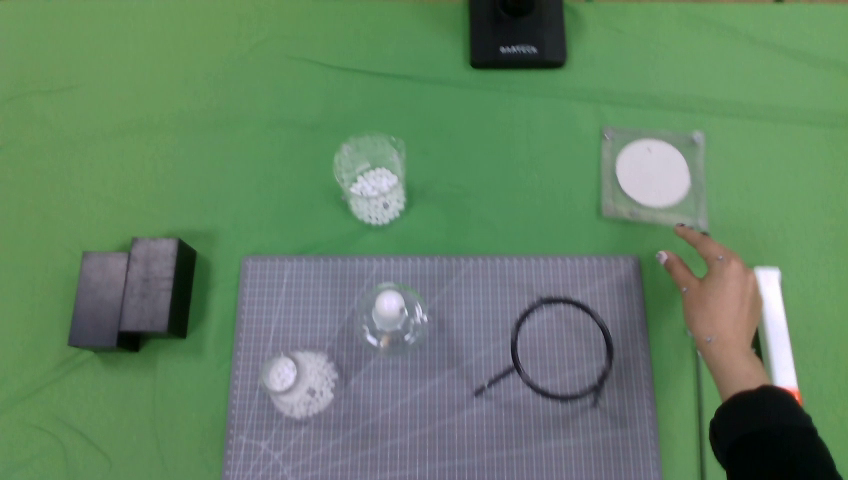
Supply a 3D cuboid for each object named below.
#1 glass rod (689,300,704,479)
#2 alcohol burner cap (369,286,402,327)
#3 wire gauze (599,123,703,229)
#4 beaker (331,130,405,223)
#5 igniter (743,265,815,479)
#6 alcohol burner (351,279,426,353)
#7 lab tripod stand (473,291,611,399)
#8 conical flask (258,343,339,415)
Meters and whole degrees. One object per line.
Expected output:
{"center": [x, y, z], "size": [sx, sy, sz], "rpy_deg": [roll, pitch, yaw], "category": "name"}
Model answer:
{"center": [0.289, 0.162, 0.644], "size": [0.008, 0.008, 0.198], "rpy_deg": [4, 73, 1], "category": "glass rod"}
{"center": [-0.035, 0.061, 0.579], "size": [0.034, 0.048, 0.033], "rpy_deg": [3, 67, -7], "category": "alcohol burner cap"}
{"center": [0.269, -0.079, 0.716], "size": [0.125, 0.011, 0.121], "rpy_deg": [7, 75, 0], "category": "wire gauze"}
{"center": [-0.055, -0.066, 0.664], "size": [0.084, 0.101, 0.073], "rpy_deg": [-40, 77, -11], "category": "beaker"}
{"center": [0.372, 0.161, 0.635], "size": [0.057, 0.025, 0.275], "rpy_deg": [3, 74, -10], "category": "igniter"}
{"center": [-0.036, 0.073, 0.613], "size": [0.078, 0.119, 0.077], "rpy_deg": [1, 72, -1], "category": "alcohol burner"}
{"center": [0.117, 0.111, 0.591], "size": [0.148, 0.132, 0.147], "rpy_deg": [0, 75, 1], "category": "lab tripod stand"}
{"center": [-0.128, 0.131, 0.591], "size": [0.075, 0.122, 0.075], "rpy_deg": [0, 73, 0], "category": "conical flask"}
